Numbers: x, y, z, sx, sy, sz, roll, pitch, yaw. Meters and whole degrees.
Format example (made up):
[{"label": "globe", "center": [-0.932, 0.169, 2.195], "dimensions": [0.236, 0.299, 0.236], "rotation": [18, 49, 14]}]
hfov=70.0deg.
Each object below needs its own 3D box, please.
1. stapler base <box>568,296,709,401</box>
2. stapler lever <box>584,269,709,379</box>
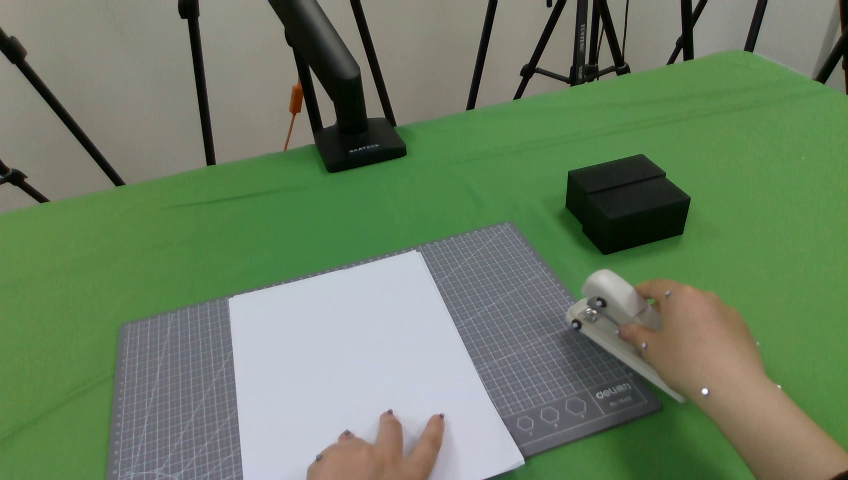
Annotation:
[{"label": "stapler base", "center": [0.187, 0.086, 0.536], "dimensions": [0.041, 0.024, 0.129], "rotation": [-29, 48, -27]}, {"label": "stapler lever", "center": [0.188, 0.068, 0.519], "dimensions": [0.027, 0.040, 0.117], "rotation": [-29, 48, -27]}]
